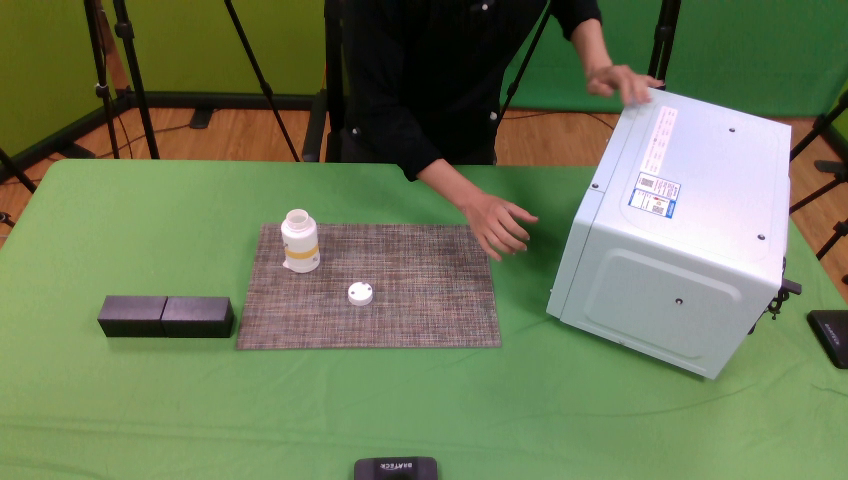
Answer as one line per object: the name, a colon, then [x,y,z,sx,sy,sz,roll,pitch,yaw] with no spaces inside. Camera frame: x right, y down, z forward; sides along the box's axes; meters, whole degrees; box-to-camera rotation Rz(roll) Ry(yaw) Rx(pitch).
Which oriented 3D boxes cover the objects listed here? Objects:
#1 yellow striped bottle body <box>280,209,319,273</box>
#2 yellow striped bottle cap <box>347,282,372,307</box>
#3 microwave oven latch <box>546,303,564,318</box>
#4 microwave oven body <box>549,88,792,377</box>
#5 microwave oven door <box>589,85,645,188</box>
yellow striped bottle body: [-0.227,-0.001,1.106,0.063,0.121,0.062,2,46,-2]
yellow striped bottle cap: [-0.117,0.098,1.093,0.044,0.019,0.044,3,45,-3]
microwave oven latch: [0.242,0.102,1.081,0.030,0.029,0.079,21,48,17]
microwave oven body: [0.456,-0.028,1.088,0.325,0.261,0.440,20,47,16]
microwave oven door: [0.342,-0.107,1.149,0.039,0.245,0.354,20,48,15]
